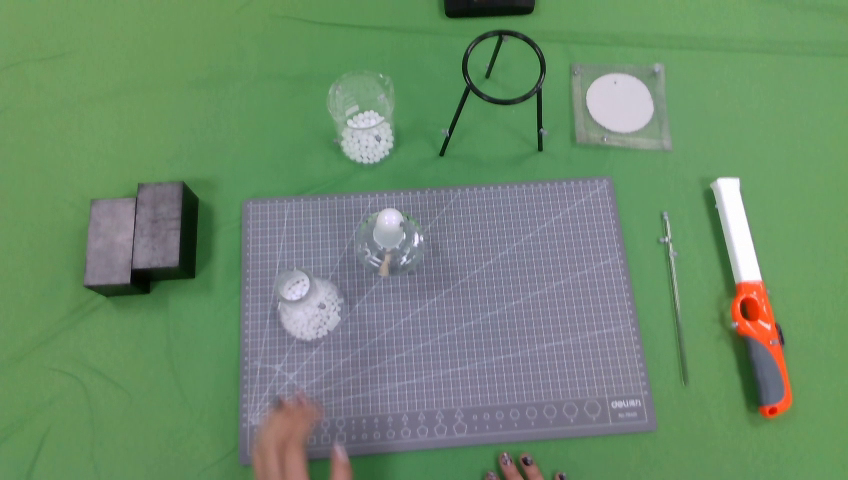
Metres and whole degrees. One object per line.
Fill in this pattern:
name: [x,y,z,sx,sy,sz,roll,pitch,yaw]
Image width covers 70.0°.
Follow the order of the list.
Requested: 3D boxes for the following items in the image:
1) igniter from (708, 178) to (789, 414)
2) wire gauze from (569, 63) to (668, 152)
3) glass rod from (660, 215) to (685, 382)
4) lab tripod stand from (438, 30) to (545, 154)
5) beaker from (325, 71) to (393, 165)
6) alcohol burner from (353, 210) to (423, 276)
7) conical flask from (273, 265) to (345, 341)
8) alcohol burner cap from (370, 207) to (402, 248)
igniter: [0.373,0.058,0.699,0.057,0.025,0.274,0,73,-13]
wire gauze: [0.249,-0.173,0.778,0.125,0.011,0.121,3,74,-2]
glass rod: [0.288,0.064,0.705,0.008,0.008,0.198,1,72,-1]
lab tripod stand: [0.081,-0.163,0.704,0.148,0.132,0.147,0,75,-1]
beaker: [-0.070,-0.140,0.711,0.073,0.101,0.084,43,76,11]
alcohol burner: [-0.039,-0.003,0.659,0.078,0.119,0.077,1,71,-3]
conical flask: [-0.126,0.061,0.632,0.075,0.122,0.075,0,72,-1]
alcohol burner cap: [-0.038,-0.016,0.625,0.034,0.048,0.033,4,65,-8]
